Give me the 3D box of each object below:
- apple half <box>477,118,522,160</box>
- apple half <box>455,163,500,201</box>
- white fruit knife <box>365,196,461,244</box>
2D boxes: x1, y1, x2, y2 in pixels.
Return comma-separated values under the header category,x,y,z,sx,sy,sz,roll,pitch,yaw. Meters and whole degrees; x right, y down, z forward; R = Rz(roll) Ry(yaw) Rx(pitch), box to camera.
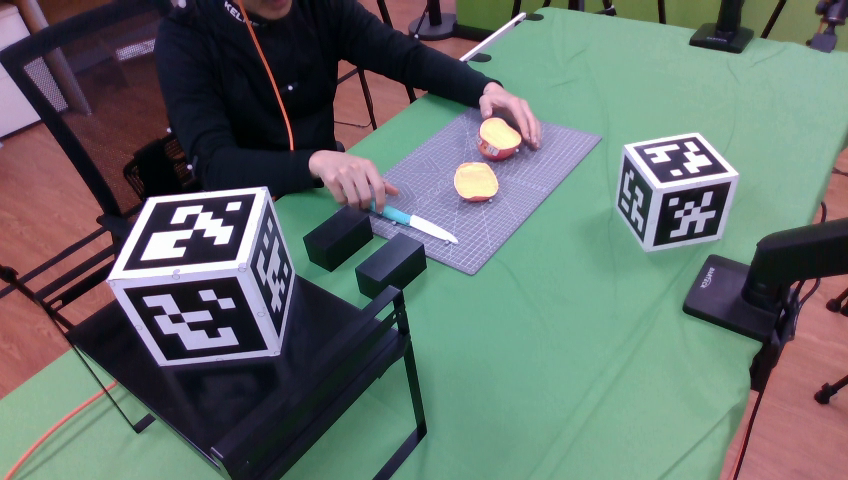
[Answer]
category,x,y,z,sx,sy,sz,roll,pitch,yaw
apple half,0.136,-0.181,1.133,0.080,0.053,0.075,40,52,13
apple half,0.090,-0.096,1.053,0.081,0.033,0.081,3,58,-4
white fruit knife,-0.024,-0.032,1.013,0.206,0.016,0.027,24,57,30
